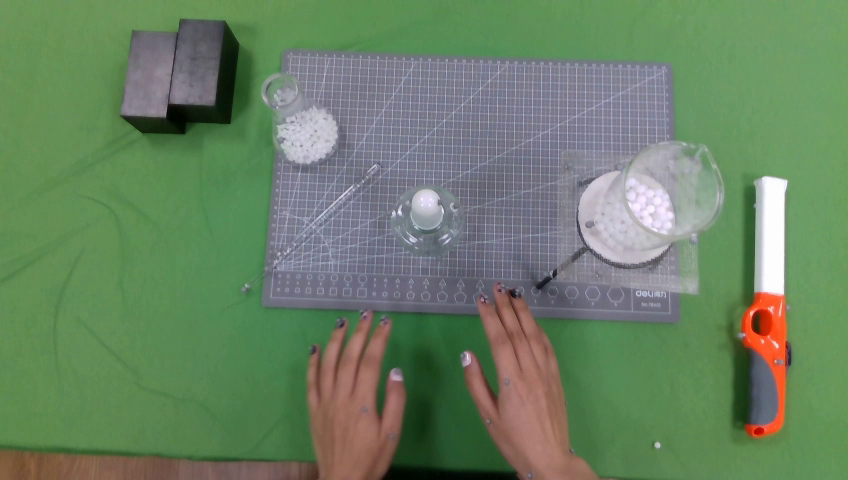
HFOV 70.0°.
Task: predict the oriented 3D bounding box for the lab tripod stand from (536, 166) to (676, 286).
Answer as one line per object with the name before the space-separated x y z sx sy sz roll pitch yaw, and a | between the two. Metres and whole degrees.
lab tripod stand | 0.178 -0.007 0.600 0.148 0.132 0.148 0 82 1

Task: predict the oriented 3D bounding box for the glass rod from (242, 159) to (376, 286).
glass rod | -0.125 -0.021 0.666 0.199 0.008 0.008 -44 83 -7

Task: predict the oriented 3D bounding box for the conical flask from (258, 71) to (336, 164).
conical flask | -0.136 -0.131 0.628 0.075 0.122 0.075 0 79 1

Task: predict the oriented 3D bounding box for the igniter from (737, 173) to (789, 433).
igniter | 0.362 0.064 0.644 0.057 0.025 0.275 9 80 -9

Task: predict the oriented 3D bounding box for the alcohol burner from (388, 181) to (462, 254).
alcohol burner | 0.000 -0.026 0.614 0.078 0.119 0.077 0 80 3

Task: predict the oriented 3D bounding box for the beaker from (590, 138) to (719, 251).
beaker | 0.181 -0.033 0.489 0.074 0.100 0.084 38 83 6

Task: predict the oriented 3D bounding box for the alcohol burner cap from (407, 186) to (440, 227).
alcohol burner cap | 0.000 -0.035 0.579 0.034 0.048 0.033 0 73 0

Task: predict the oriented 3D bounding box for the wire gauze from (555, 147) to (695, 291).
wire gauze | 0.178 -0.021 0.536 0.125 0.011 0.121 5 83 0
